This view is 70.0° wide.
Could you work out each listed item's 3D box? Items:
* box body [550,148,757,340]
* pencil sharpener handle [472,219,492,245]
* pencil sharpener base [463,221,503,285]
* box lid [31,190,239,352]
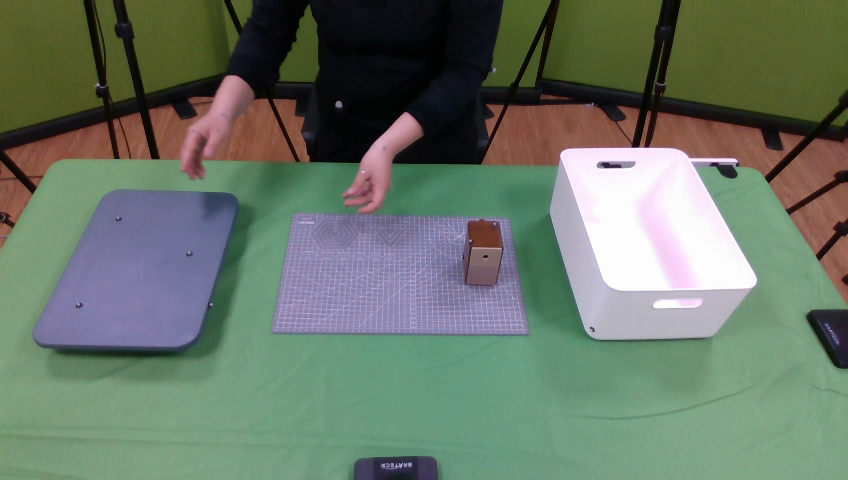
[{"bbox_3d":[0.395,0.003,1.127,0.254,0.161,0.361,-1,46,-5],"label":"box body"},{"bbox_3d":[0.104,-0.021,1.146,0.036,0.068,0.030,6,45,-8],"label":"pencil sharpener handle"},{"bbox_3d":[0.107,0.024,1.119,0.061,0.107,0.076,1,45,-2],"label":"pencil sharpener base"},{"bbox_3d":[-0.491,0.040,1.070,0.263,0.015,0.369,1,46,-3],"label":"box lid"}]
